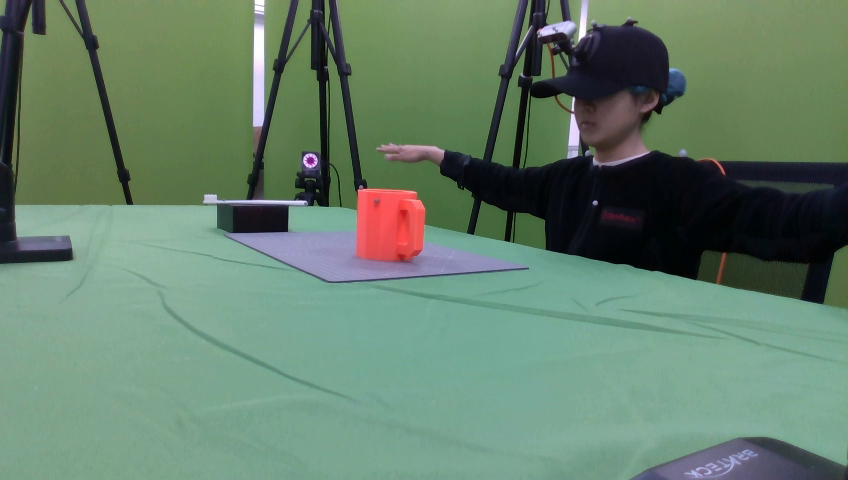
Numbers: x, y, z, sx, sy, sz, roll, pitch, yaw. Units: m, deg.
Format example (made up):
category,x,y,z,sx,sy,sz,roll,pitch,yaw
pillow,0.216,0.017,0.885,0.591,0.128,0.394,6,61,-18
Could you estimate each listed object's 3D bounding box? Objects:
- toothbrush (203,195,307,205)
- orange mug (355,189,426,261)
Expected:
category,x,y,z,sx,sy,sz,roll,pitch,yaw
toothbrush,-0.306,-0.072,1.105,0.183,0.016,0.014,0,4,-22
orange mug,-0.043,-0.022,0.854,0.084,0.100,0.125,-3,5,-40
